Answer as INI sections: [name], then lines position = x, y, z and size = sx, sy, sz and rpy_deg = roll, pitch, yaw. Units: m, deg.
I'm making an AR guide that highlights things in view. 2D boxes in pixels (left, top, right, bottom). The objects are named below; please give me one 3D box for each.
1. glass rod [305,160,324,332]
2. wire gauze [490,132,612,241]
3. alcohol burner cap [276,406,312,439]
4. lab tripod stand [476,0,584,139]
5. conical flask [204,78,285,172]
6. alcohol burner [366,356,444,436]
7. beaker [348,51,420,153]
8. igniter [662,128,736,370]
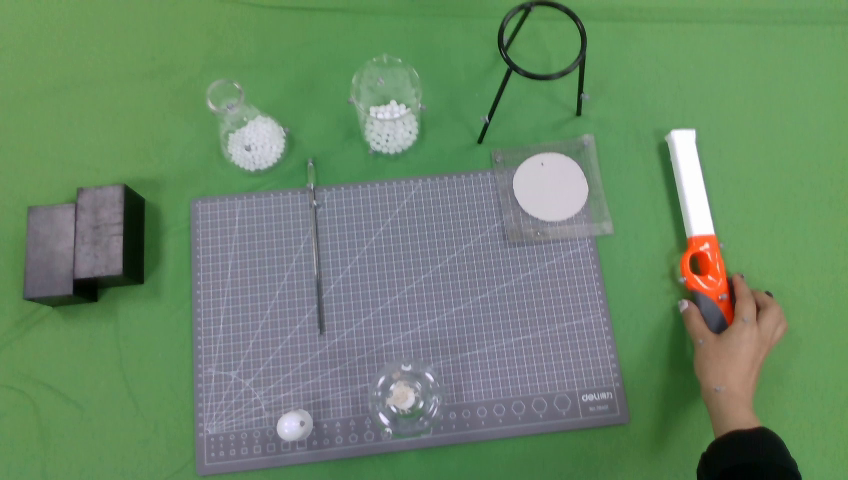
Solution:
[glass rod]
position = -0.122, 0.004, 0.674
size = 0.008, 0.008, 0.198
rpy_deg = -6, 76, -3
[wire gauze]
position = 0.145, -0.061, 0.698
size = 0.125, 0.011, 0.121
rpy_deg = -7, 76, -3
[alcohol burner cap]
position = -0.133, 0.185, 0.613
size = 0.034, 0.048, 0.033
rpy_deg = 0, 76, -1
[lab tripod stand]
position = 0.114, -0.185, 0.666
size = 0.148, 0.132, 0.147
rpy_deg = 0, 78, -1
[conical flask]
position = -0.198, -0.128, 0.651
size = 0.075, 0.122, 0.075
rpy_deg = 0, 75, -1
[alcohol burner]
position = -0.019, 0.151, 0.587
size = 0.078, 0.119, 0.077
rpy_deg = 0, 77, -1
[beaker]
position = -0.042, -0.148, 0.671
size = 0.074, 0.101, 0.083
rpy_deg = -4, 75, -2
[igniter]
position = 0.306, 0.004, 0.677
size = 0.057, 0.025, 0.275
rpy_deg = -2, 76, -10
